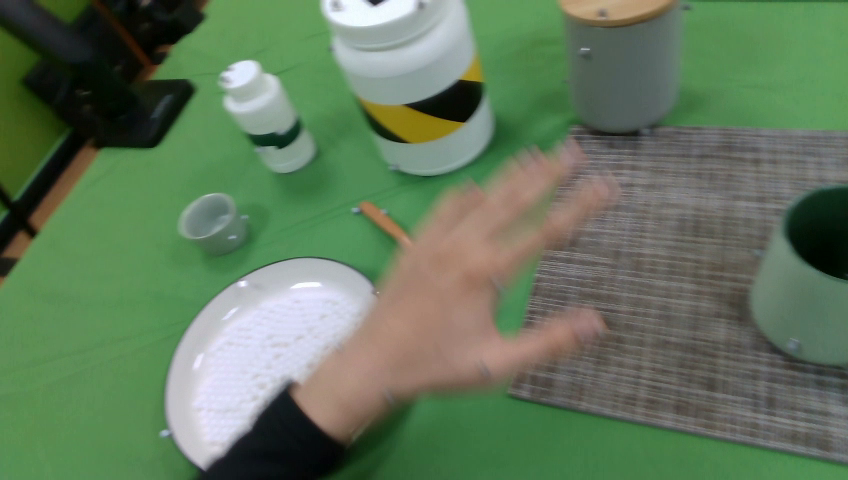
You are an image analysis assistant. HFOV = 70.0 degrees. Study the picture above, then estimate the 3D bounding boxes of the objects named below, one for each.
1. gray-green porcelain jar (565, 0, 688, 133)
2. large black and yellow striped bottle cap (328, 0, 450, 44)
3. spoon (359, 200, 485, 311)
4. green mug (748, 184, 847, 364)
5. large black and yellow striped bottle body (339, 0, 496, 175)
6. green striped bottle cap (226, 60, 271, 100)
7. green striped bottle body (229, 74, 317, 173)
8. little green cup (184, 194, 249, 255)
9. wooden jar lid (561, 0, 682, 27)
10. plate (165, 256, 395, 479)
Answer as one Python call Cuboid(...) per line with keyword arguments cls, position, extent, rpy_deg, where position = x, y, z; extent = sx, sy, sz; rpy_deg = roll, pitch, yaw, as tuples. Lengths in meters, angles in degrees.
Cuboid(cls="gray-green porcelain jar", position=(0.191, -0.175, 0.578), extent=(0.106, 0.128, 0.105), rpy_deg=(-8, 49, 10))
Cuboid(cls="large black and yellow striped bottle cap", position=(-0.030, -0.216, 0.538), extent=(0.115, 0.019, 0.114), rpy_deg=(-8, 52, 11))
Cuboid(cls="spoon", position=(-0.009, 0.005, 0.578), extent=(0.041, 0.022, 0.191), rpy_deg=(-50, 54, 1))
Cuboid(cls="green mug", position=(0.292, 0.029, 0.404), extent=(0.124, 0.106, 0.092), rpy_deg=(15, 60, 27))
Cuboid(cls="large black and yellow striped bottle body", position=(-0.006, -0.169, 0.603), extent=(0.130, 0.186, 0.129), rpy_deg=(-9, 53, 12))
Cuboid(cls="green striped bottle cap", position=(-0.184, -0.167, 0.634), extent=(0.044, 0.020, 0.044), rpy_deg=(-7, 55, 11))
Cuboid(cls="green striped bottle body", position=(-0.170, -0.136, 0.673), extent=(0.063, 0.120, 0.062), rpy_deg=(-9, 52, 12))
Cuboid(cls="little green cup", position=(-0.222, -0.015, 0.654), extent=(0.061, 0.039, 0.061), rpy_deg=(-8, 53, 11))
Cuboid(cls="wooden jar lid", position=(0.176, -0.215, 0.531), extent=(0.108, 0.021, 0.107), rpy_deg=(-11, 49, 13))
Cuboid(cls="plate", position=(-0.121, 0.109, 0.529), extent=(0.209, 0.038, 0.207), rpy_deg=(-9, 52, 12))
